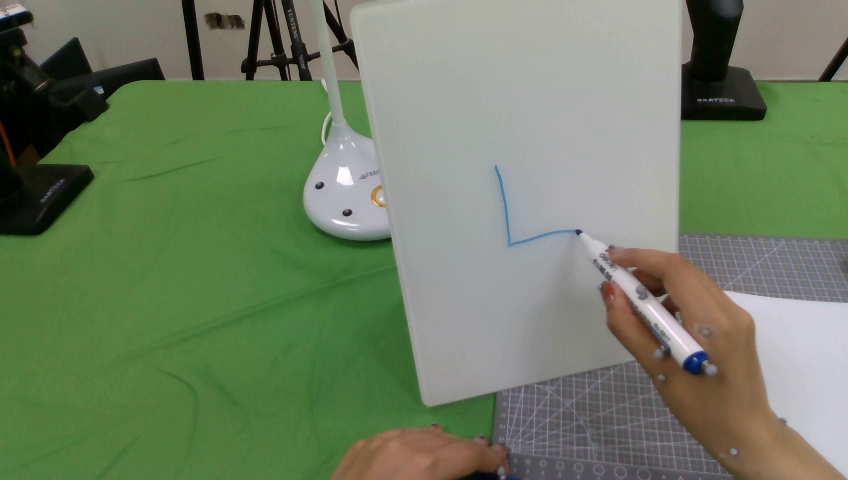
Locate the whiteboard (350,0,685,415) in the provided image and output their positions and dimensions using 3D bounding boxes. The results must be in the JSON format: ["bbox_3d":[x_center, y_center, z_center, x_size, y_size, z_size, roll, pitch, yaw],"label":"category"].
[{"bbox_3d":[0.074,-0.046,0.495,0.217,0.307,0.142,-11,23,-5],"label":"whiteboard"}]

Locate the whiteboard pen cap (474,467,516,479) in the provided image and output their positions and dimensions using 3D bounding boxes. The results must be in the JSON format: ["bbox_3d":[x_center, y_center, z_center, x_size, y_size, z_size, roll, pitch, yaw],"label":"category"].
[{"bbox_3d":[0.052,0.170,0.418,0.033,0.018,0.018,8,42,33],"label":"whiteboard pen cap"}]

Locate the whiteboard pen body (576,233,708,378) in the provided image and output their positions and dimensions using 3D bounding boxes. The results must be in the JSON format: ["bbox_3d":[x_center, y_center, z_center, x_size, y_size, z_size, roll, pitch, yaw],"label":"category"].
[{"bbox_3d":[0.134,0.035,0.392,0.017,0.017,0.139,-16,39,-10],"label":"whiteboard pen body"}]

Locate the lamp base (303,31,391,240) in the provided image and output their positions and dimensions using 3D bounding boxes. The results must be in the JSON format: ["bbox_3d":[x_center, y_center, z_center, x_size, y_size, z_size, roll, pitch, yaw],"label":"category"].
[{"bbox_3d":[-0.071,-0.118,0.642,0.160,0.182,0.177,-31,45,-25],"label":"lamp base"}]
